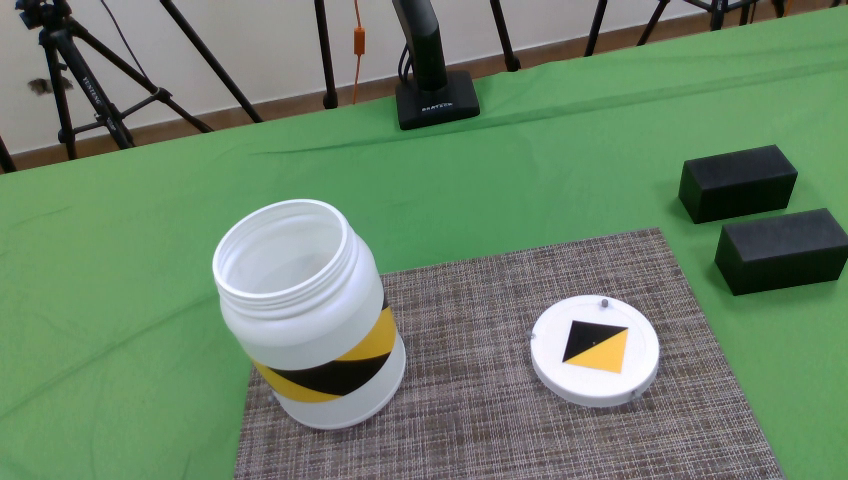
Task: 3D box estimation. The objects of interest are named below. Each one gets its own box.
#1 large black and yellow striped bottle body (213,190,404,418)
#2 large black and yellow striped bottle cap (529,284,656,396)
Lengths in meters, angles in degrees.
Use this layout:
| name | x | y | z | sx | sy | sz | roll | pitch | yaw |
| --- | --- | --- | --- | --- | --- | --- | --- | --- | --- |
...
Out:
| name | x | y | z | sx | sy | sz | roll | pitch | yaw |
| --- | --- | --- | --- | --- | --- | --- | --- | --- | --- |
| large black and yellow striped bottle body | -0.097 | 0.059 | 0.535 | 0.130 | 0.186 | 0.129 | -7 | 46 | 7 |
| large black and yellow striped bottle cap | 0.156 | 0.090 | 0.565 | 0.115 | 0.019 | 0.114 | -6 | 47 | 7 |
